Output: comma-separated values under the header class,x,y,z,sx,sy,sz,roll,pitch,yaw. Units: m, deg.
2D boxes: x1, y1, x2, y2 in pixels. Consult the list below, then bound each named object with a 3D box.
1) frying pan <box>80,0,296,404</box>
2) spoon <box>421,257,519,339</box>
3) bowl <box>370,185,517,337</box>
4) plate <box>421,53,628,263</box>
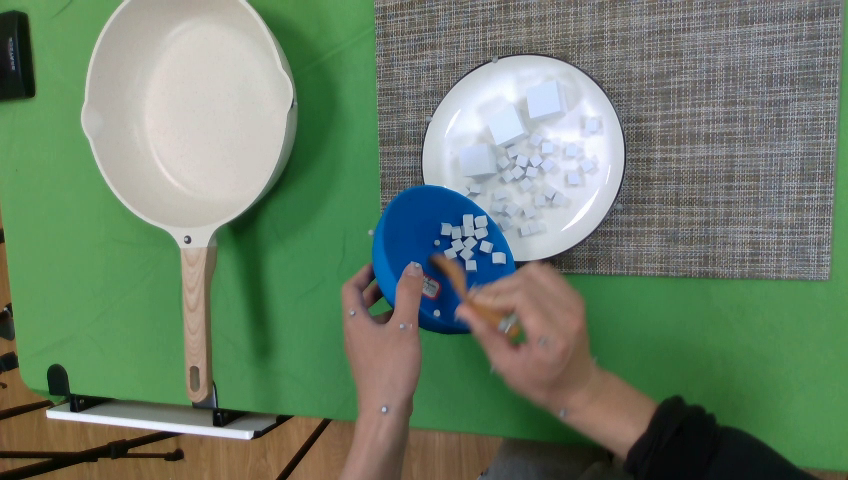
class,x,y,z,sx,sy,sz,roll,pitch,yaw
frying pan,-0.275,-0.051,0.727,0.305,0.103,0.487,-1,87,21
spoon,0.034,0.047,0.495,0.042,0.192,0.021,42,91,-20
bowl,0.006,0.031,0.582,0.151,0.151,0.077,56,137,7
plate,0.100,-0.081,0.620,0.207,0.039,0.208,2,97,20
